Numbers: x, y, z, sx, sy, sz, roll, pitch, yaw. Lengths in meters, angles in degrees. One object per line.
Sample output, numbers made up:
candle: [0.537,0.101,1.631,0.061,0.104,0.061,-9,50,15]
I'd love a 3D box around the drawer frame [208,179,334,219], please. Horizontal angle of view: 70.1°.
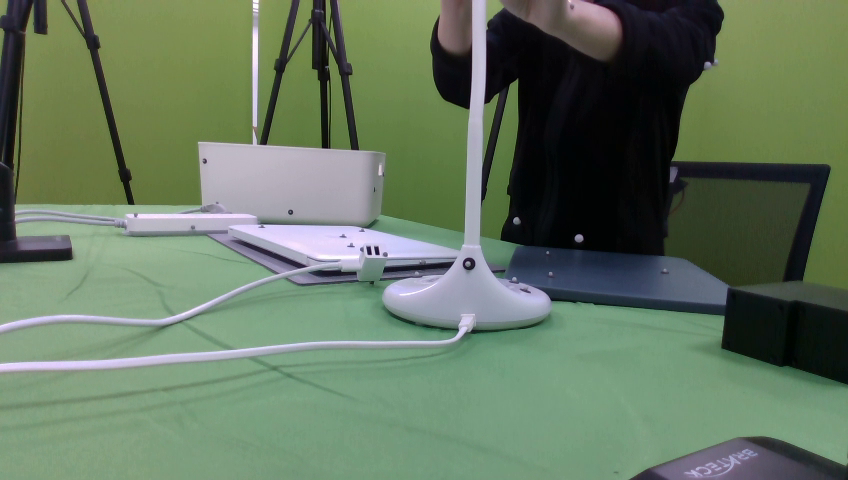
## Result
drawer frame: [-0.326,-0.093,1.328,0.213,0.082,0.202,-1,5,6]

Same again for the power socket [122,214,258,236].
power socket: [-0.398,-0.028,1.049,0.228,0.032,0.072,-3,8,-34]

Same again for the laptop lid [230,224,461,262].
laptop lid: [-0.120,0.000,0.889,0.243,0.013,0.355,1,7,-33]

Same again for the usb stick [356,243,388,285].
usb stick: [-0.058,0.029,0.658,0.027,0.059,0.021,-4,53,-18]

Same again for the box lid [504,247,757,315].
box lid: [0.244,0.044,0.793,0.263,0.015,0.372,4,7,11]

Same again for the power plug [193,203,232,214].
power plug: [-0.394,-0.042,1.139,0.072,0.052,0.035,-14,1,31]

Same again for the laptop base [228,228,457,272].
laptop base: [-0.122,0.012,0.889,0.237,0.023,0.352,2,6,-35]

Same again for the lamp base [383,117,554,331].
lamp base: [0.045,-0.019,0.547,0.161,0.180,0.179,2,10,-4]

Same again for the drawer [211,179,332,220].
drawer: [-0.328,-0.095,1.332,0.212,0.073,0.194,5,8,6]

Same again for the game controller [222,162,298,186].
game controller: [-0.357,-0.143,1.322,0.156,0.051,0.097,1,3,-16]

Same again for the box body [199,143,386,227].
box body: [-0.276,-0.124,1.334,0.364,0.160,0.254,3,7,1]
